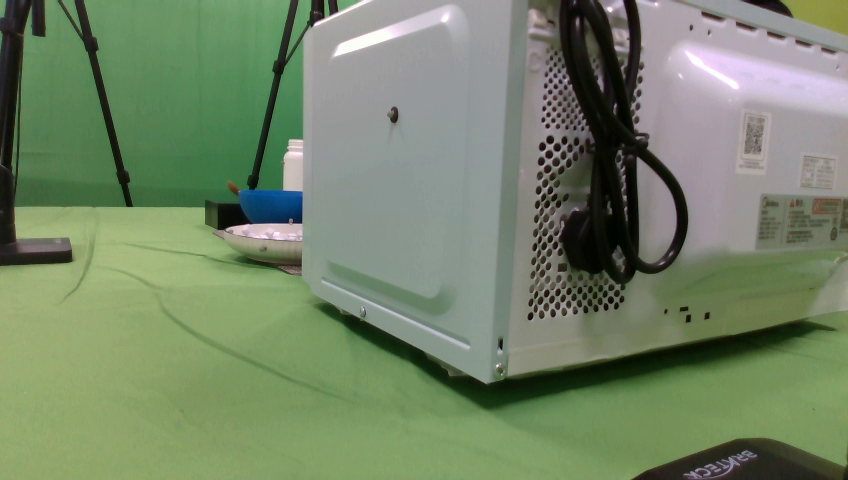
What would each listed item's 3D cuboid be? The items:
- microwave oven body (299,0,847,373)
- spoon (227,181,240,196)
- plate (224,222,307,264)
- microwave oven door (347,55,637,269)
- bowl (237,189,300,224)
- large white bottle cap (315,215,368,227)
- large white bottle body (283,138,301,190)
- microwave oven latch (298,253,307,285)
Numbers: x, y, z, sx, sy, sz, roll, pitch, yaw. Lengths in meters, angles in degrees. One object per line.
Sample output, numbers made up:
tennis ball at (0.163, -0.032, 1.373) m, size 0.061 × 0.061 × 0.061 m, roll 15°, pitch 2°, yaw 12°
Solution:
microwave oven body at (0.151, -0.055, 0.542) m, size 0.444 × 0.260 × 0.324 m, roll -2°, pitch 7°, yaw -33°
spoon at (-0.315, -0.074, 1.235) m, size 0.195 × 0.021 × 0.041 m, roll 24°, pitch -9°, yaw -37°
plate at (-0.172, 0.004, 0.849) m, size 0.209 × 0.038 × 0.209 m, roll 2°, pitch 7°, yaw 0°
microwave oven door at (0.088, -0.087, 0.739) m, size 0.357 × 0.243 × 0.039 m, roll 1°, pitch 8°, yaw -14°
bowl at (-0.247, -0.046, 1.054) m, size 0.151 × 0.077 × 0.151 m, roll 2°, pitch 8°, yaw 0°
large white bottle cap at (-0.177, -0.041, 1.309) m, size 0.115 × 0.018 × 0.115 m, roll 2°, pitch 6°, yaw 0°
large white bottle body at (-0.265, -0.143, 1.423) m, size 0.131 × 0.184 × 0.130 m, roll 2°, pitch 7°, yaw 0°
microwave oven latch at (-0.081, 0.027, 0.582) m, size 0.079 × 0.029 × 0.030 m, roll -1°, pitch 7°, yaw -32°
